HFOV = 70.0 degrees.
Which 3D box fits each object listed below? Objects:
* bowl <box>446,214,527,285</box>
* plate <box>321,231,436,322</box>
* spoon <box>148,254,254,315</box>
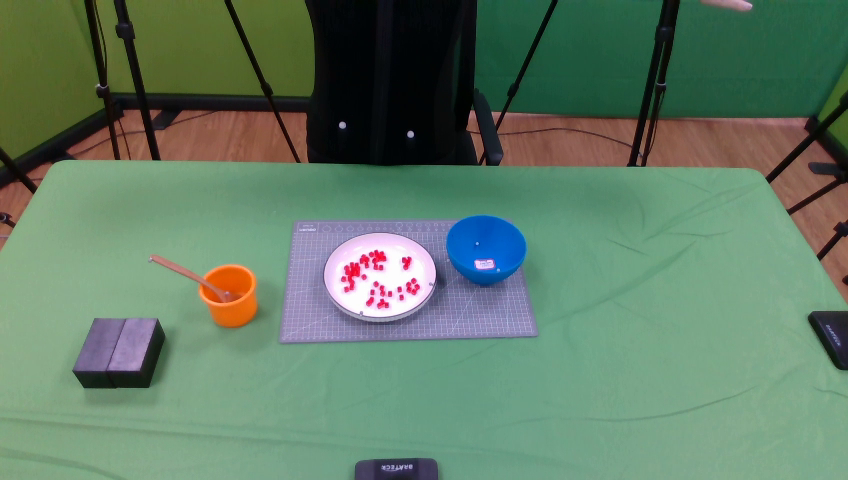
[{"bbox_3d":[0.112,0.030,1.134,0.151,0.077,0.150,2,46,-2],"label":"bowl"},{"bbox_3d":[-0.083,0.070,1.109,0.209,0.038,0.208,3,46,-3],"label":"plate"},{"bbox_3d":[-0.368,0.072,1.011,0.021,0.195,0.041,-31,36,29],"label":"spoon"}]
